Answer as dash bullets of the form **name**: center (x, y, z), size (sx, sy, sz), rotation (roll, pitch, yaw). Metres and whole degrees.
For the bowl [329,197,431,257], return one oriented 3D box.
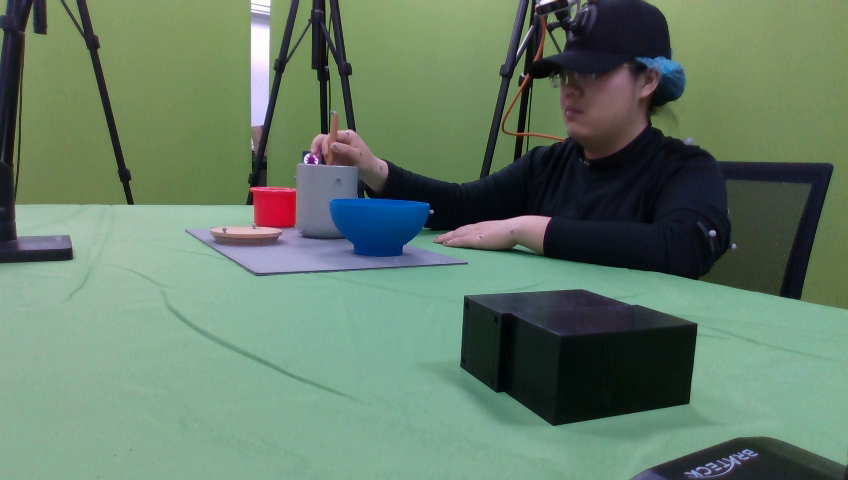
- **bowl**: center (-0.067, -0.019, 0.894), size (0.151, 0.077, 0.151), rotation (3, 7, 0)

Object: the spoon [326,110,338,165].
- **spoon**: center (-0.169, -0.128, 1.050), size (0.042, 0.193, 0.021), rotation (8, 7, -45)

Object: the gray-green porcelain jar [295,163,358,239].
- **gray-green porcelain jar**: center (-0.170, -0.069, 1.054), size (0.106, 0.126, 0.106), rotation (3, 7, 0)

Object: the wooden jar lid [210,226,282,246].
- **wooden jar lid**: center (-0.279, -0.007, 0.951), size (0.108, 0.020, 0.108), rotation (2, 8, 0)
